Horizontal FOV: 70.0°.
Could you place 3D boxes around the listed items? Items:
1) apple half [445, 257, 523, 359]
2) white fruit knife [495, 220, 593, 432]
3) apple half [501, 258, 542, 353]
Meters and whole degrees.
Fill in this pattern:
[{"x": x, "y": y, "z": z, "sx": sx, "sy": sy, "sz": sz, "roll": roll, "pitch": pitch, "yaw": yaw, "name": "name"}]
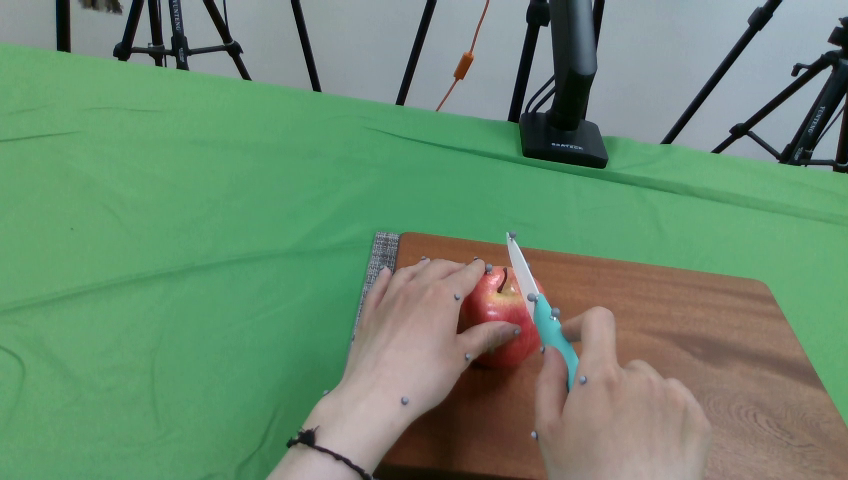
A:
[{"x": 0.044, "y": 0.058, "z": 0.503, "sx": 0.053, "sy": 0.075, "sz": 0.080, "roll": -4, "pitch": 46, "yaw": -11, "name": "apple half"}, {"x": 0.080, "y": 0.046, "z": 0.445, "sx": 0.016, "sy": 0.027, "sz": 0.205, "roll": 6, "pitch": 36, "yaw": -16, "name": "white fruit knife"}, {"x": 0.082, "y": 0.056, "z": 0.513, "sx": 0.033, "sy": 0.082, "sz": 0.080, "roll": -5, "pitch": 42, "yaw": -11, "name": "apple half"}]
